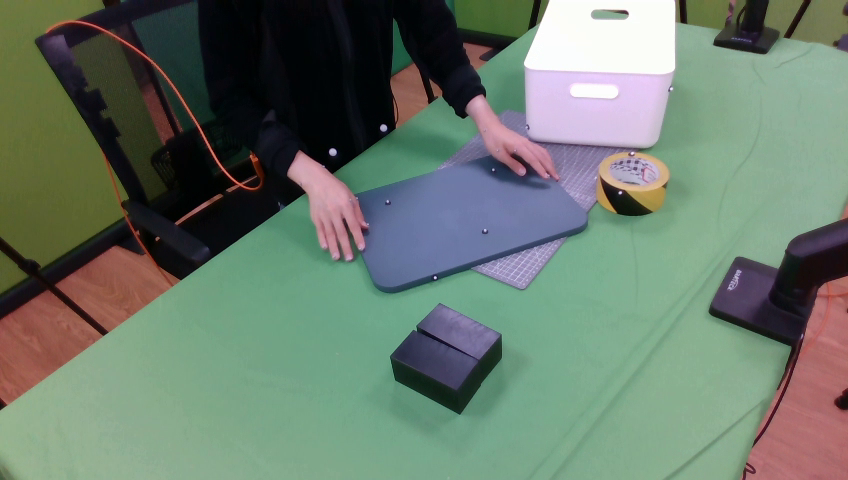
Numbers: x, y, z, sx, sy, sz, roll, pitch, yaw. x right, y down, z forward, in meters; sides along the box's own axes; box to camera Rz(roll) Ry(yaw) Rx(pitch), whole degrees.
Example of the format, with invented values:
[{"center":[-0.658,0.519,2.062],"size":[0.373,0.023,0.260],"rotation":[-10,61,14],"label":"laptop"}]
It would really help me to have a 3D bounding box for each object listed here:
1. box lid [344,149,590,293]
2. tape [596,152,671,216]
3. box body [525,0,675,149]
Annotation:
[{"center":[0.062,-0.045,1.027],"size":[0.373,0.015,0.261],"rotation":[-18,41,-11],"label":"box lid"},{"center":[0.349,-0.095,1.009],"size":[0.117,0.053,0.116],"rotation":[-3,42,3],"label":"tape"},{"center":[0.356,-0.342,1.212],"size":[0.253,0.161,0.363],"rotation":[7,42,17],"label":"box body"}]
